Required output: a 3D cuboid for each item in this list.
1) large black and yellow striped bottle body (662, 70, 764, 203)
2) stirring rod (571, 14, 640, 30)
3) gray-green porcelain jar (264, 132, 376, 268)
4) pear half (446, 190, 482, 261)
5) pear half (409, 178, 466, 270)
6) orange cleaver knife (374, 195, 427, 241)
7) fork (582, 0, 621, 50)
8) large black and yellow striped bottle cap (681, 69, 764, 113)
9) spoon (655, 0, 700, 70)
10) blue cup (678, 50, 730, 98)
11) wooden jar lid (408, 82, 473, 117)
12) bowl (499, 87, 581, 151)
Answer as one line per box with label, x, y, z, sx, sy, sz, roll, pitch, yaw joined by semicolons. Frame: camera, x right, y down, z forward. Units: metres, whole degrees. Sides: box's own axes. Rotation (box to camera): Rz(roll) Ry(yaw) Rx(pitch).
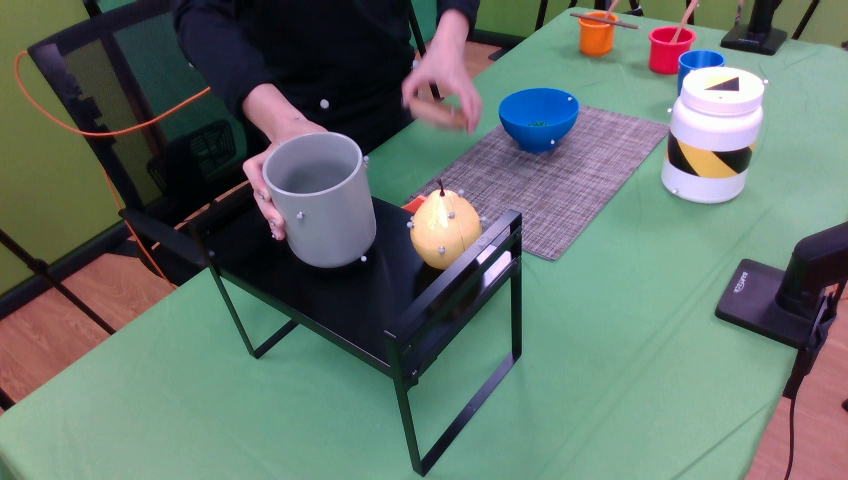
large black and yellow striped bottle body;0.464;-0.166;0.976;0.131;0.185;0.130;-5;41;5
stirring rod;0.419;-0.508;1.404;0.174;0.006;0.014;28;55;35
gray-green porcelain jar;-0.111;-0.040;0.680;0.106;0.127;0.105;-3;47;3
pear half;0.046;-0.020;0.665;0.031;0.088;0.070;-17;38;-9
pear half;0.011;-0.019;0.654;0.056;0.110;0.076;-17;37;-9
orange cleaver knife;-0.037;-0.029;0.973;0.210;0.077;0.012;-8;33;50
fork;0.445;-0.539;1.438;0.207;0.019;0.028;-57;36;12
large black and yellow striped bottle cap;0.453;-0.229;0.921;0.115;0.019;0.114;-4;39;4
spoon;0.568;-0.463;1.337;0.041;0.022;0.193;30;97;38
blue cup;0.543;-0.310;1.194;0.092;0.101;0.092;-6;41;6
wooden jar lid;0.024;-0.217;0.940;0.109;0.020;0.108;19;20;-7
bowl;0.220;-0.223;1.156;0.151;0.077;0.150;-4;40;4
